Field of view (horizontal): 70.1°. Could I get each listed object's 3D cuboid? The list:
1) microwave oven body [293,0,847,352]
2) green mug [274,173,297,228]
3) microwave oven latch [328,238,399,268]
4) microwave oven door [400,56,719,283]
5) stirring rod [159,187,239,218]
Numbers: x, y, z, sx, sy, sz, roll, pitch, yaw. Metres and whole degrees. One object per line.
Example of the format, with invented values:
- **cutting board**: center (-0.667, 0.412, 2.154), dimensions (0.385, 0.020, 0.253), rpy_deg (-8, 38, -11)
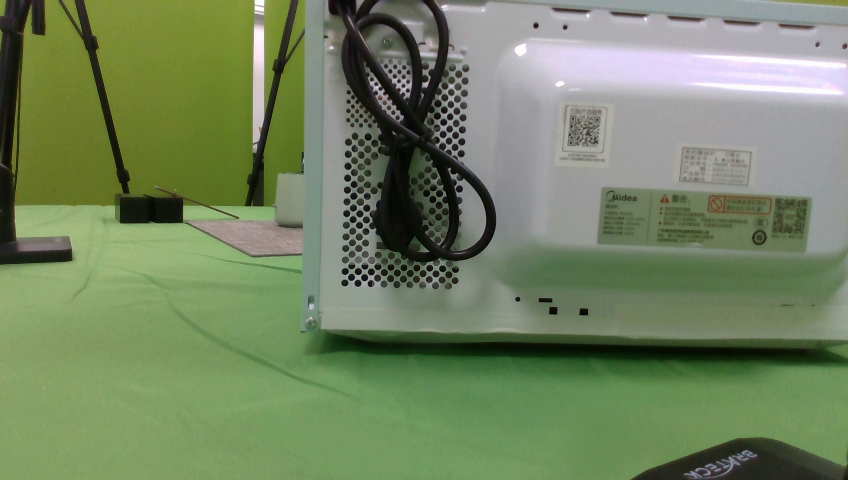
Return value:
- **microwave oven body**: center (0.122, -0.055, 0.550), dimensions (0.442, 0.260, 0.325), rpy_deg (3, 7, -5)
- **green mug**: center (-0.242, -0.081, 1.221), dimensions (0.092, 0.105, 0.126), rpy_deg (8, 9, 39)
- **microwave oven latch**: center (-0.069, 0.015, 0.694), dimensions (0.079, 0.029, 0.030), rpy_deg (3, 7, -3)
- **microwave oven door**: center (0.155, -0.077, 0.697), dimensions (0.356, 0.243, 0.039), rpy_deg (2, 8, -5)
- **stirring rod**: center (-0.472, -0.077, 1.279), dimensions (0.177, 0.006, 0.014), rpy_deg (23, -8, -38)
